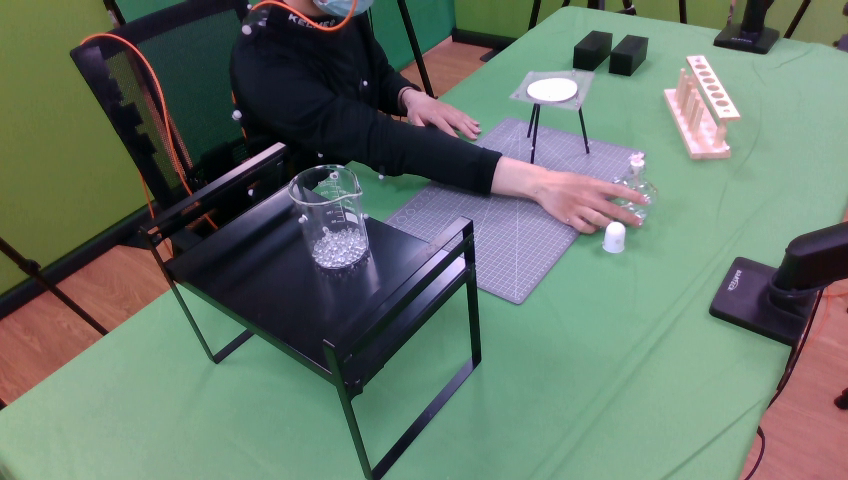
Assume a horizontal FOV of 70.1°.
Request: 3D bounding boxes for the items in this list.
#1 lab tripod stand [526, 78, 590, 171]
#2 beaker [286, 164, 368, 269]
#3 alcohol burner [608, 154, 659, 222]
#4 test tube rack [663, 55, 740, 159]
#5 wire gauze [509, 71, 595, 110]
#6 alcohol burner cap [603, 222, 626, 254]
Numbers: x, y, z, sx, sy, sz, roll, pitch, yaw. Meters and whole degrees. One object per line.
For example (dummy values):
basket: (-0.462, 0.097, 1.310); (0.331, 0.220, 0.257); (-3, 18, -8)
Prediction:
lab tripod stand: (0.228, -0.215, 1.097); (0.148, 0.132, 0.147); (-6, 40, 5)
beaker: (-0.101, -0.024, 0.676); (0.083, 0.101, 0.074); (8, 43, 17)
alcohol burner: (0.333, -0.087, 0.954); (0.078, 0.119, 0.077); (-3, 42, 3)
test tube rack: (0.518, -0.256, 1.144); (0.066, 0.085, 0.241); (-1, 41, 8)
wire gauze: (0.224, -0.266, 1.054); (0.124, 0.011, 0.121); (12, 44, 23)
alcohol burner cap: (0.292, -0.006, 0.921); (0.034, 0.048, 0.033); (-4, 40, 4)
